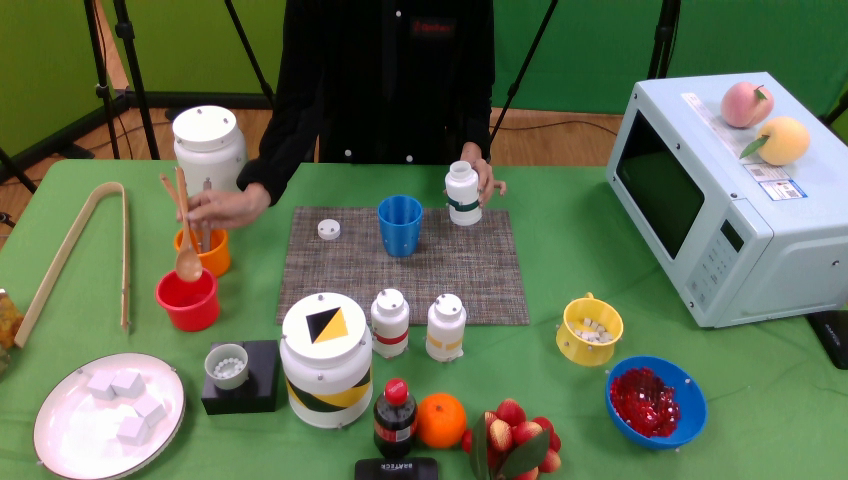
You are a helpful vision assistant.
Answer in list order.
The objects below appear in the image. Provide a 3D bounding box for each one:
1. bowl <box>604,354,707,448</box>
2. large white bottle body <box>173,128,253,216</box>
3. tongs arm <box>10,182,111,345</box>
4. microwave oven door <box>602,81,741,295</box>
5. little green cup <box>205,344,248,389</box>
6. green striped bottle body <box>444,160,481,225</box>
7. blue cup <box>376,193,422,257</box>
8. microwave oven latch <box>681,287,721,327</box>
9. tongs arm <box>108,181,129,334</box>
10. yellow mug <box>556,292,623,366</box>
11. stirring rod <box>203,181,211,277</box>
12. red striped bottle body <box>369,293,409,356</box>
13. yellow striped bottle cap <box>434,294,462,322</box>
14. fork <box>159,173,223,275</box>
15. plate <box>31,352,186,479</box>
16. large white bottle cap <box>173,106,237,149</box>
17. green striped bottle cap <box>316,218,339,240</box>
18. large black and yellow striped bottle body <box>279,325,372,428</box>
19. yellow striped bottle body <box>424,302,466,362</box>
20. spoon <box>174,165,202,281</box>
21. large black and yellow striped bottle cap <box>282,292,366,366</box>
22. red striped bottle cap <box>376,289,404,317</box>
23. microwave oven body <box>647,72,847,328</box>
[{"bbox_3d":[0.346,0.261,0.937,0.151,0.077,0.150,2,46,-2],"label":"bowl"},{"bbox_3d":[-0.416,-0.154,1.199,0.131,0.185,0.130,2,46,-2],"label":"large white bottle body"},{"bbox_3d":[-0.658,0.027,1.109,0.028,0.028,0.385,-2,45,2],"label":"tongs arm"},{"bbox_3d":[0.456,-0.107,1.162,0.039,0.245,0.353,-6,47,-11],"label":"microwave oven door"},{"bbox_3d":[-0.294,0.191,0.909,0.061,0.039,0.061,1,47,-1],"label":"little green cup"},{"bbox_3d":[0.072,-0.091,1.143,0.063,0.120,0.063,-6,41,5],"label":"green striped bottle body"},{"bbox_3d":[-0.048,-0.022,1.155,0.093,0.101,0.092,1,47,-1],"label":"blue cup"},{"bbox_3d":[0.494,0.119,1.087,0.030,0.029,0.078,-6,46,-9],"label":"microwave oven latch"},{"bbox_3d":[-0.572,0.019,1.123,0.051,0.026,0.382,-10,47,-12],"label":"tongs arm"},{"bbox_3d":[0.285,0.145,1.051,0.100,0.064,0.130,7,45,4],"label":"yellow mug"},{"bbox_3d":[-0.397,-0.021,1.108,0.014,0.006,0.176,0,89,-1],"label":"stirring rod"},{"bbox_3d":[-0.059,0.134,0.997,0.063,0.120,0.062,5,47,-5],"label":"red striped bottle body"},{"bbox_3d":[0.038,0.107,0.958,0.044,0.019,0.044,2,45,-1],"label":"yellow striped bottle cap"},{"bbox_3d":[-0.427,-0.029,1.104,0.028,0.018,0.207,-31,99,-30],"label":"fork"},{"bbox_3d":[-0.459,0.262,0.898,0.209,0.038,0.208,2,46,-2],"label":"plate"},{"bbox_3d":[-0.411,-0.212,1.138,0.115,0.018,0.114,3,47,-3],"label":"large white bottle cap"},{"bbox_3d":[-0.192,-0.023,1.203,0.044,0.020,0.044,2,51,-2],"label":"green striped bottle cap"},{"bbox_3d":[-0.143,0.181,0.900,0.131,0.185,0.130,2,46,-2],"label":"large black and yellow striped bottle body"},{"bbox_3d":[0.035,0.143,0.995,0.063,0.121,0.062,3,46,-2],"label":"yellow striped bottle body"},{"bbox_3d":[-0.389,-0.028,0.986,0.042,0.021,0.193,-3,84,-36],"label":"spoon"},{"bbox_3d":[-0.138,0.121,0.841,0.115,0.019,0.114,3,47,-3],"label":"large black and yellow striped bottle cap"},{"bbox_3d":[-0.054,0.098,0.958,0.044,0.018,0.044,-1,48,1],"label":"red striped bottle cap"},{"bbox_3d":[0.607,-0.089,1.164,0.326,0.261,0.438,-7,46,-10],"label":"microwave oven body"}]
